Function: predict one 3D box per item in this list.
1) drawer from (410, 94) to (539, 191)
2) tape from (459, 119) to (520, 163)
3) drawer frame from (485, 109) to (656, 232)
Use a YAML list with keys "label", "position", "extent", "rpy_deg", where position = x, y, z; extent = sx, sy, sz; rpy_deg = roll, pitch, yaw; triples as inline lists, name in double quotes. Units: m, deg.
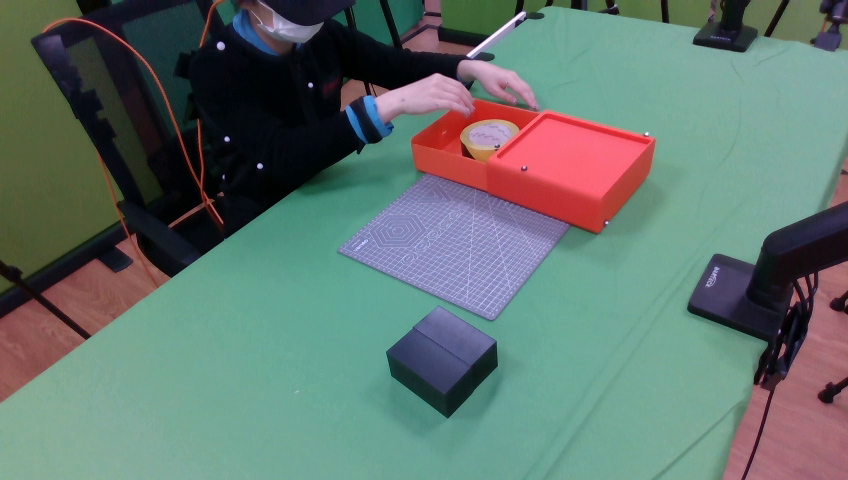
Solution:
- label: "drawer"
  position: [0.116, -0.180, 1.118]
  extent: [0.210, 0.073, 0.195]
  rpy_deg: [22, 48, 31]
- label: "tape"
  position: [0.123, -0.175, 1.120]
  extent: [0.117, 0.053, 0.116]
  rpy_deg: [-6, 38, 5]
- label: "drawer frame"
  position: [0.247, -0.126, 1.029]
  extent: [0.212, 0.083, 0.202]
  rpy_deg: [24, 49, 30]
